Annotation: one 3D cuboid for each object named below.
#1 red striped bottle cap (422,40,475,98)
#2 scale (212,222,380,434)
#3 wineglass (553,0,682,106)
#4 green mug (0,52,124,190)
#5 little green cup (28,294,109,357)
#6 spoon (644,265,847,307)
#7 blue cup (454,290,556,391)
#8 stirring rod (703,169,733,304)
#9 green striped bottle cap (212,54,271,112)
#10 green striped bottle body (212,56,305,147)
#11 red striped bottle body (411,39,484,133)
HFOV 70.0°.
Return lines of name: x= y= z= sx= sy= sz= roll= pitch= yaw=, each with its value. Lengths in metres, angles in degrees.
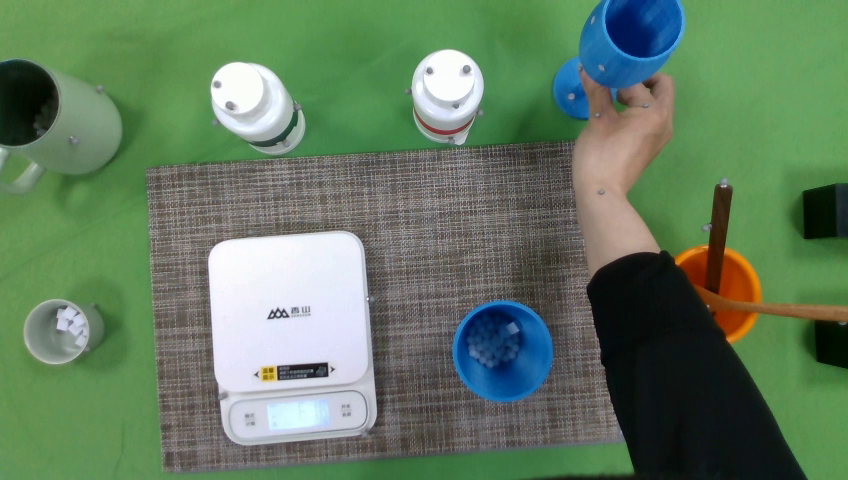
red striped bottle cap: x=0.020 y=-0.142 z=0.501 sx=0.044 sy=0.018 sz=0.044 roll=0 pitch=86 yaw=0
scale: x=-0.123 y=0.086 z=0.588 sx=0.149 sy=0.031 sz=0.200 roll=-5 pitch=89 yaw=0
wineglass: x=0.160 y=-0.169 z=0.529 sx=0.074 sy=0.172 sz=0.073 roll=0 pitch=90 yaw=1
green mug: x=-0.350 y=-0.102 z=0.556 sx=0.092 sy=0.105 sz=0.125 roll=31 pitch=88 yaw=0
little green cup: x=-0.340 y=0.081 z=0.585 sx=0.061 sy=0.038 sz=0.061 roll=0 pitch=89 yaw=-2
spoon: x=0.293 y=0.047 z=0.539 sx=0.022 sy=0.192 sz=0.042 roll=-11 pitch=100 yaw=-44
blue cup: x=0.069 y=0.085 z=0.555 sx=0.092 sy=0.100 sz=0.092 roll=0 pitch=89 yaw=1
stirring rod: x=0.259 y=0.004 z=0.537 sx=0.014 sy=0.178 sz=0.006 roll=11 pitch=54 yaw=28
green striped bottle cap: x=-0.150 y=-0.128 z=0.496 sx=0.044 sy=0.020 sz=0.044 roll=0 pitch=88 yaw=1
green striped bottle body: x=-0.150 y=-0.125 z=0.551 sx=0.063 sy=0.119 sz=0.063 roll=0 pitch=88 yaw=0
red striped bottle body: x=0.020 y=-0.141 z=0.554 sx=0.063 sy=0.119 sz=0.063 roll=0 pitch=88 yaw=-1
